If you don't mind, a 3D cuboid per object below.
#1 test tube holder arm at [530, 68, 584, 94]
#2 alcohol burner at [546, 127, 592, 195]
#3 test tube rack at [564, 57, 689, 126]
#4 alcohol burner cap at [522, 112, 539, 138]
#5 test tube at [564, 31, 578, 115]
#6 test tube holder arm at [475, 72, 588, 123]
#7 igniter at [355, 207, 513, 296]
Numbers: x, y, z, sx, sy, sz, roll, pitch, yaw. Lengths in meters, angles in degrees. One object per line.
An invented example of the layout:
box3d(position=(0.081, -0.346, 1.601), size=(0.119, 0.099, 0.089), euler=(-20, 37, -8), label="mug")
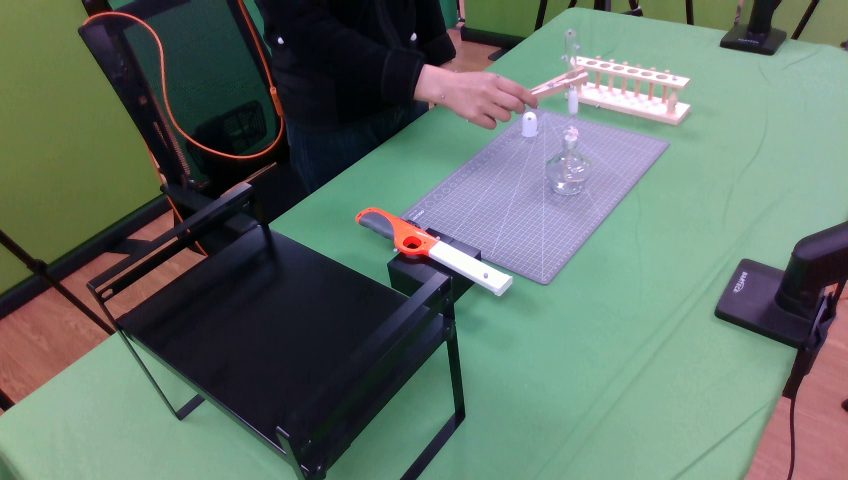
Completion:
box3d(position=(0.203, -0.238, 0.921), size=(0.088, 0.015, 0.010), euler=(-26, 45, -1), label="test tube holder arm")
box3d(position=(0.246, -0.137, 1.024), size=(0.078, 0.119, 0.077), euler=(-4, 38, 4), label="alcohol burner")
box3d(position=(0.411, -0.311, 1.230), size=(0.240, 0.085, 0.067), euler=(24, 49, 32), label="test tube rack")
box3d(position=(0.209, -0.230, 1.195), size=(0.034, 0.048, 0.033), euler=(-6, 41, 6), label="alcohol burner cap")
box3d(position=(0.223, -0.247, 0.913), size=(0.017, 0.151, 0.017), euler=(-8, 52, 10), label="test tube")
box3d(position=(0.162, -0.216, 0.918), size=(0.178, 0.015, 0.013), euler=(-21, 45, 3), label="test tube holder arm")
box3d(position=(0.006, 0.010, 0.885), size=(0.274, 0.025, 0.057), euler=(27, 53, 30), label="igniter")
